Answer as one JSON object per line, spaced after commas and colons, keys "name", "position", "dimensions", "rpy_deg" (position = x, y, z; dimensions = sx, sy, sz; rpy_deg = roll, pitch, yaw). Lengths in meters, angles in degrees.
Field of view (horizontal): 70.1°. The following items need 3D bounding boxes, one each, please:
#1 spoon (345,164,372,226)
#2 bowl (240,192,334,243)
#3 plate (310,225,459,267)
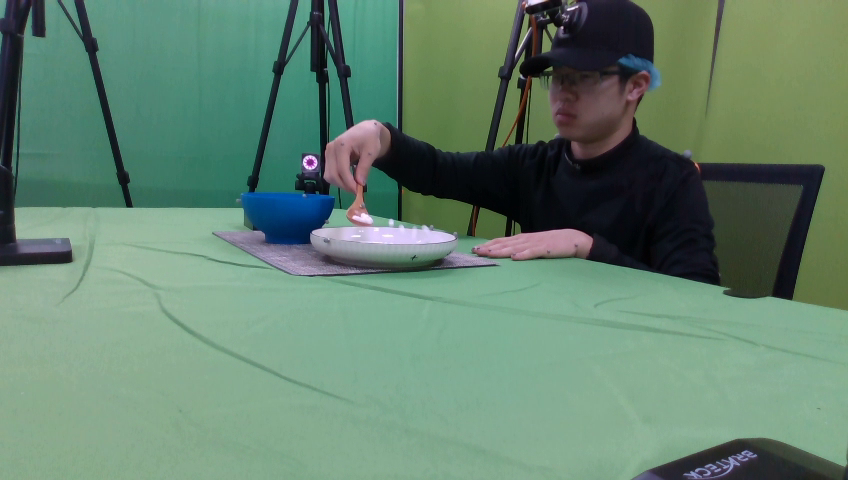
{"name": "spoon", "position": [-0.100, -0.073, 0.927], "dimensions": [0.042, 0.021, 0.193], "rpy_deg": [16, 32, -17]}
{"name": "bowl", "position": [-0.223, -0.037, 0.992], "dimensions": [0.151, 0.077, 0.151], "rpy_deg": [2, 7, 0]}
{"name": "plate", "position": [-0.055, 0.008, 0.851], "dimensions": [0.208, 0.039, 0.207], "rpy_deg": [2, 7, 0]}
